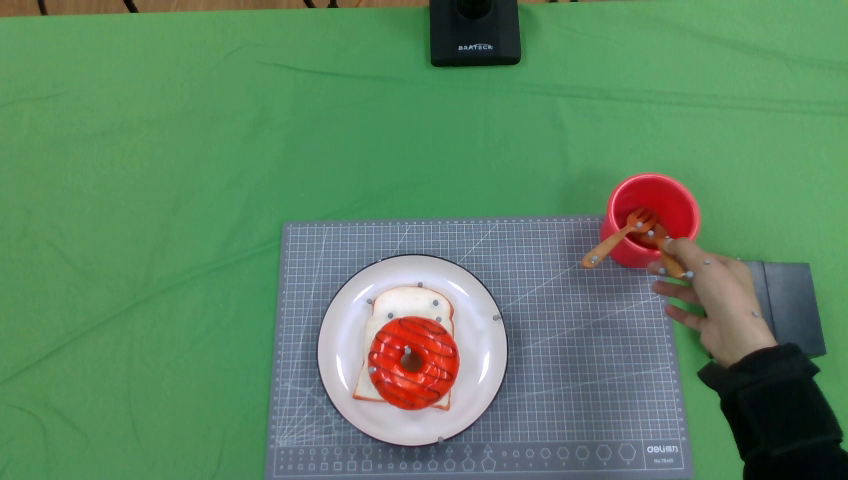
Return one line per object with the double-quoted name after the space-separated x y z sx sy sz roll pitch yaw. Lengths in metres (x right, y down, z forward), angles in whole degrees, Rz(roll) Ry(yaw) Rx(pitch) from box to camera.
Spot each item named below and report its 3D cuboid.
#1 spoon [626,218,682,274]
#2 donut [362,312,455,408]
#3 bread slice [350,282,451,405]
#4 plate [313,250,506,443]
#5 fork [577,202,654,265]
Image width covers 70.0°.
0.240 0.002 0.627 0.041 0.193 0.022 8 102 10 "spoon"
-0.016 0.124 0.633 0.099 0.048 0.098 1 75 -2 "donut"
-0.022 0.110 0.669 0.105 0.019 0.131 5 72 1 "bread slice"
-0.016 0.115 0.665 0.209 0.038 0.207 0 71 0 "plate"
0.207 -0.009 0.646 0.028 0.019 0.208 47 35 14 "fork"
